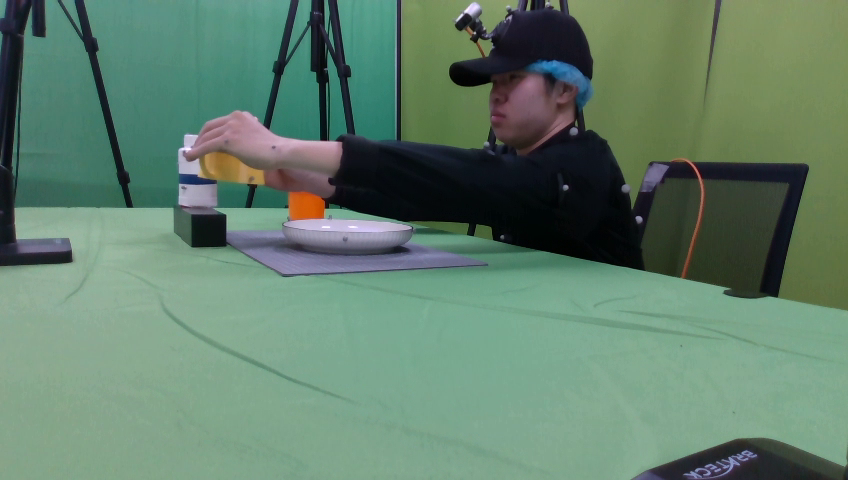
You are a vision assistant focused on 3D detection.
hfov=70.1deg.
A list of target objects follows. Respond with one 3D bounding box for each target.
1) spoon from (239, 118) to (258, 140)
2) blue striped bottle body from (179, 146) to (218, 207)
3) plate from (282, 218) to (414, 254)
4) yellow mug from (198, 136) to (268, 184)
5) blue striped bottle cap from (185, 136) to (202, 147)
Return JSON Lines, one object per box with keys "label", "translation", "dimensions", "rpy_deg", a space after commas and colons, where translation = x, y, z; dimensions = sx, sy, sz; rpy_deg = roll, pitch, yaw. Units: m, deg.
{"label": "spoon", "translation": [-0.299, -0.162, 0.996], "dimensions": [0.042, 0.021, 0.193], "rpy_deg": [8, 38, -3]}
{"label": "blue striped bottle body", "translation": [-0.392, -0.119, 1.052], "dimensions": [0.063, 0.120, 0.063], "rpy_deg": [2, 8, 0]}
{"label": "plate", "translation": [-0.121, -0.007, 0.971], "dimensions": [0.208, 0.039, 0.207], "rpy_deg": [2, 7, 0]}
{"label": "yellow mug", "translation": [-0.305, -0.125, 0.939], "dimensions": [0.100, 0.064, 0.131], "rpy_deg": [8, 7, 16]}
{"label": "blue striped bottle cap", "translation": [-0.390, -0.169, 1.047], "dimensions": [0.044, 0.020, 0.044], "rpy_deg": [4, 10, 0]}
